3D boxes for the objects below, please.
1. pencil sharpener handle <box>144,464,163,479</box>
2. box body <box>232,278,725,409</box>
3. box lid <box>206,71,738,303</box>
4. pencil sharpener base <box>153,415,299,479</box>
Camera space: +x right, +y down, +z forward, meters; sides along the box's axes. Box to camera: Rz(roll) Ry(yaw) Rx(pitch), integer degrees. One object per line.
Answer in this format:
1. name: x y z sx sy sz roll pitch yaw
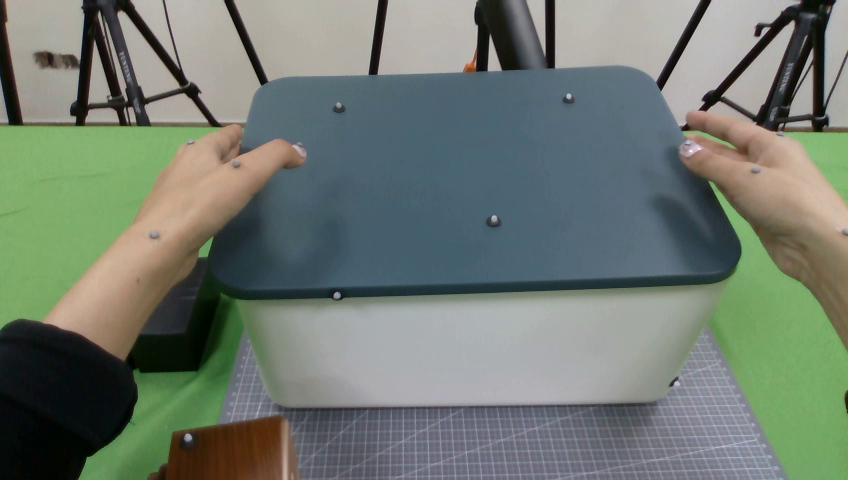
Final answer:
1. pencil sharpener handle: -0.171 0.166 0.372 0.031 0.068 0.035 -6 43 -9
2. box body: 0.035 0.011 0.552 0.364 0.162 0.251 0 39 -3
3. box lid: 0.029 -0.059 0.489 0.372 0.015 0.260 -2 46 -2
4. pencil sharpener base: -0.121 0.171 0.388 0.077 0.108 0.060 -6 40 -9
